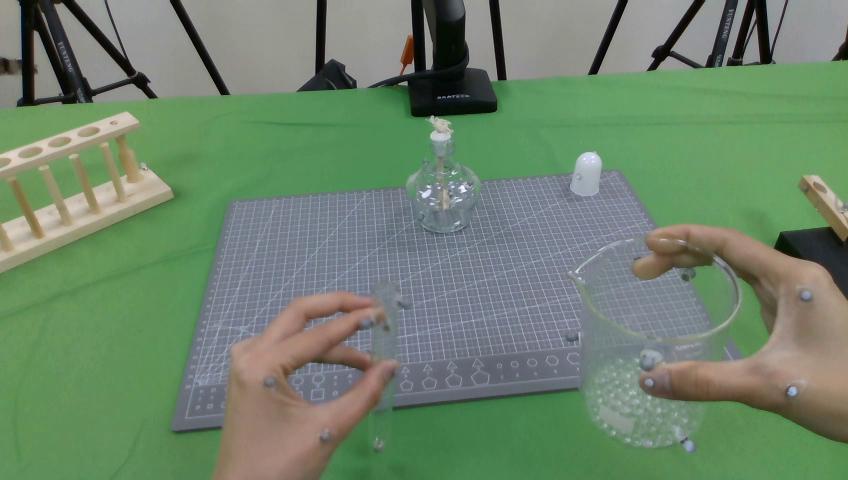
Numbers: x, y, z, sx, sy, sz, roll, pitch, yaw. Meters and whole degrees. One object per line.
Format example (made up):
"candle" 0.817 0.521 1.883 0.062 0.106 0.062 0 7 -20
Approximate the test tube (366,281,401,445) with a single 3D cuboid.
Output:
"test tube" -0.026 0.082 0.371 0.017 0.151 0.017 4 41 -3

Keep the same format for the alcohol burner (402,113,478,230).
"alcohol burner" 0.016 -0.070 0.607 0.078 0.120 0.077 -2 38 2

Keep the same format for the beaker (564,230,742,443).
"beaker" 0.117 0.056 0.328 0.083 0.101 0.073 12 46 25

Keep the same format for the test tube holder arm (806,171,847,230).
"test tube holder arm" 0.374 -0.006 0.523 0.013 0.015 0.176 -9 39 4

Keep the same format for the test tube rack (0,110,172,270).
"test tube rack" -0.396 -0.044 0.615 0.242 0.086 0.066 -31 48 -31

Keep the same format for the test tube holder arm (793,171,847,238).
"test tube holder arm" 0.367 -0.034 0.557 0.010 0.015 0.087 -8 39 4

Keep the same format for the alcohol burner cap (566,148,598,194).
"alcohol burner cap" 0.176 -0.079 0.669 0.034 0.048 0.033 -1 40 1
